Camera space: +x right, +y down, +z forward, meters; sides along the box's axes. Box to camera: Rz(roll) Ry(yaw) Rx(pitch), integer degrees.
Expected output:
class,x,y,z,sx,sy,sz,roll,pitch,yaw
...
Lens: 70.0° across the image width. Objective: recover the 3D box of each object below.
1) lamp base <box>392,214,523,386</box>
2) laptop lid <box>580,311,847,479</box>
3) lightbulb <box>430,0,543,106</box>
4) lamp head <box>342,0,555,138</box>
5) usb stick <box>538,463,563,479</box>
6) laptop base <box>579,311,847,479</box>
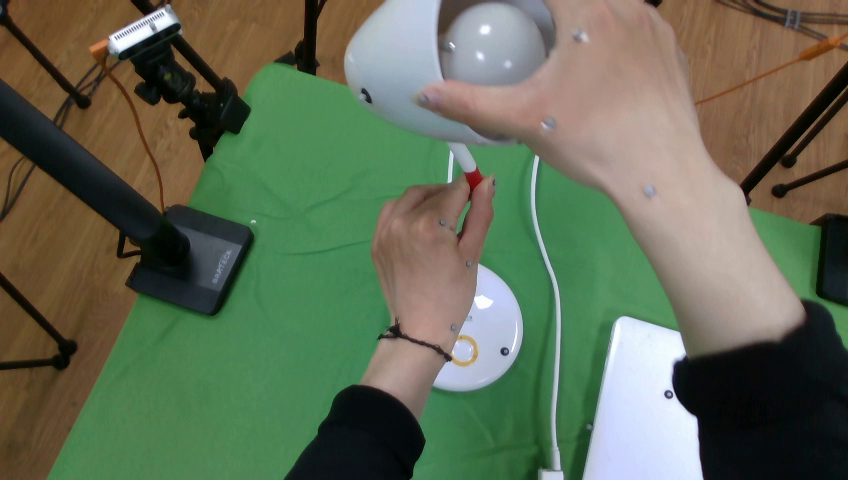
class,x,y,z,sx,sy,sz,roll,pitch,yaw
lamp base,0.040,0.059,0.669,0.161,0.181,0.177,-12,68,-6
laptop lid,0.368,0.239,0.692,0.356,0.013,0.240,18,72,4
lightbulb,0.023,-0.112,0.365,0.106,0.060,0.059,17,63,49
lamp head,0.008,-0.116,0.391,0.113,0.122,0.112,-1,92,-39
usb stick,0.141,0.280,0.676,0.027,0.021,0.059,4,79,-1
laptop base,0.369,0.241,0.704,0.354,0.023,0.234,17,73,4
